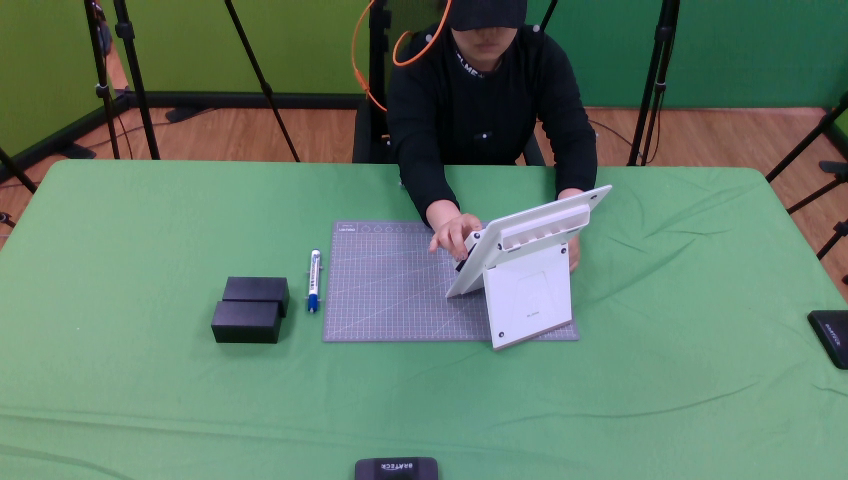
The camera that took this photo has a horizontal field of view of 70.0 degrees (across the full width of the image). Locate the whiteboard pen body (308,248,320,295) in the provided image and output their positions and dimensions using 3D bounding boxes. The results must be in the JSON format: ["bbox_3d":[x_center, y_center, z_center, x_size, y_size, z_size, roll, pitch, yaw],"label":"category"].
[{"bbox_3d":[-0.204,0.069,1.119,0.017,0.017,0.140,-1,46,-5],"label":"whiteboard pen body"}]

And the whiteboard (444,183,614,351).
[{"bbox_3d":[0.186,0.065,0.990,0.217,0.306,0.143,-16,69,-19],"label":"whiteboard"}]

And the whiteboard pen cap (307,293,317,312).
[{"bbox_3d":[-0.199,0.110,1.078,0.018,0.018,0.033,-2,47,-6],"label":"whiteboard pen cap"}]

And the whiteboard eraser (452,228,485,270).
[{"bbox_3d":[0.089,0.017,1.009,0.056,0.113,0.041,-13,68,-21],"label":"whiteboard eraser"}]
